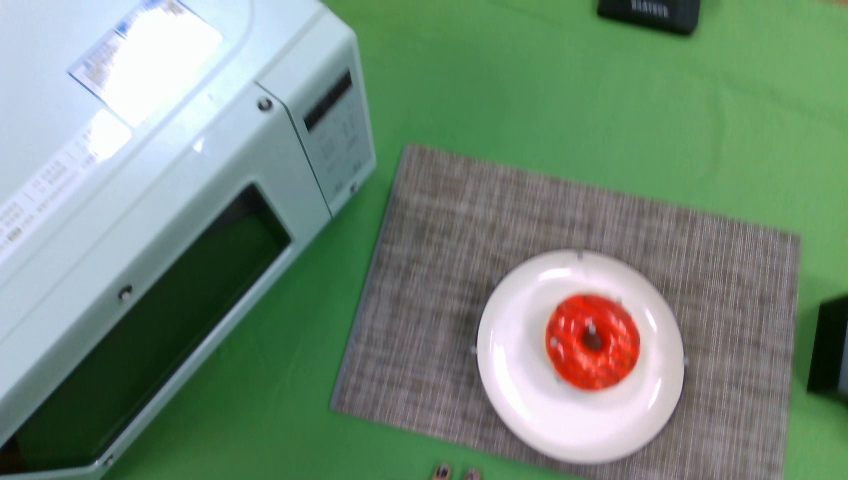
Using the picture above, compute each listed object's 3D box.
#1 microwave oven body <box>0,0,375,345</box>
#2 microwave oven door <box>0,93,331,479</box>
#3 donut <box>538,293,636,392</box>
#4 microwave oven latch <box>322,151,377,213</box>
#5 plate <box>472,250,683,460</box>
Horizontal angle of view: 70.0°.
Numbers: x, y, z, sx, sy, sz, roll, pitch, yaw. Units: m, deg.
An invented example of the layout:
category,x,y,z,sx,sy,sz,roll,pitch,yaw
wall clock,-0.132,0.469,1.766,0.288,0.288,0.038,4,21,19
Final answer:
category,x,y,z,sx,sy,sz,roll,pitch,yaw
microwave oven body,-0.309,-0.055,0.536,0.325,0.261,0.441,38,77,9
microwave oven door,-0.221,0.063,0.499,0.039,0.245,0.355,38,76,10
donut,0.163,0.101,0.607,0.099,0.048,0.098,1,76,-3
microwave oven latch,-0.083,-0.069,0.647,0.030,0.029,0.079,38,77,9
plate,0.153,0.114,0.615,0.209,0.038,0.208,1,74,-2
